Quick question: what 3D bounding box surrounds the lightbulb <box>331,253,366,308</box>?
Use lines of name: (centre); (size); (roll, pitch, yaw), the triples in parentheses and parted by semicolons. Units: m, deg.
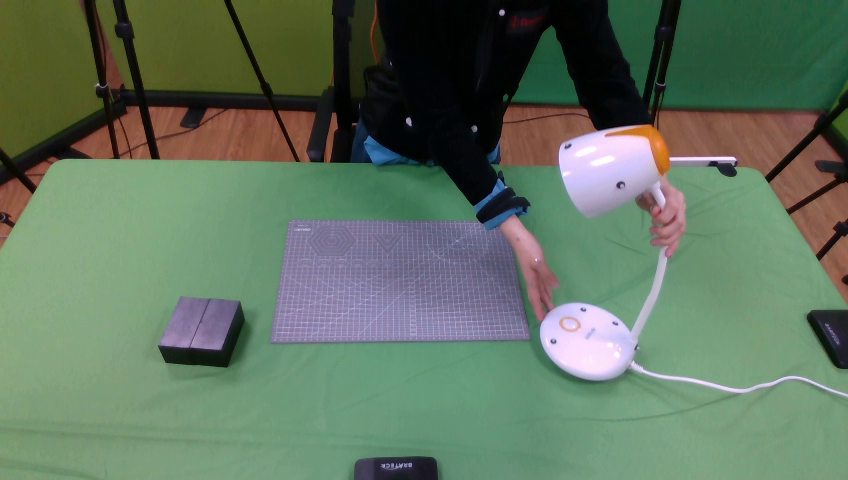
lightbulb: (-0.131, 0.074, 1.094); (0.059, 0.060, 0.107); (-15, 65, -18)

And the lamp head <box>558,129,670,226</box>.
lamp head: (0.253, -0.087, 0.785); (0.123, 0.113, 0.112); (-19, 38, 29)

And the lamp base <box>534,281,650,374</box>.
lamp base: (0.287, 0.112, 1.000); (0.179, 0.181, 0.160); (12, 46, 5)
